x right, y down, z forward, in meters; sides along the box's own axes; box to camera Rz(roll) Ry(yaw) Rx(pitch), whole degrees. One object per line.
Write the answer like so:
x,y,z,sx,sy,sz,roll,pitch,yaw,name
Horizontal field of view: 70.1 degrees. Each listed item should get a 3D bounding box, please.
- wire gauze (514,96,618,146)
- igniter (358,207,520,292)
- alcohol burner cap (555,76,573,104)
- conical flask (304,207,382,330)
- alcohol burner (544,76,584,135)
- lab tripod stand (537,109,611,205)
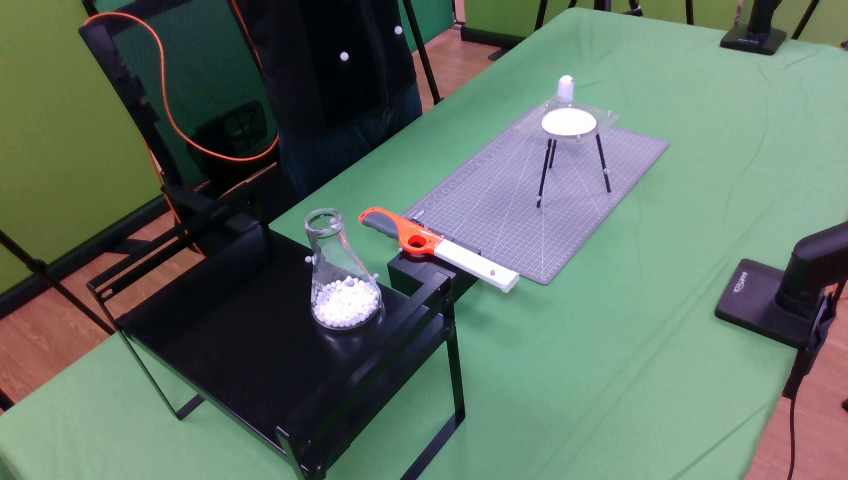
0.229,-0.190,0.969,0.120,0.011,0.125,26,50,33,wire gauze
0.014,0.008,0.886,0.274,0.025,0.057,25,52,29,igniter
0.266,-0.284,1.139,0.034,0.048,0.033,0,34,1,alcohol burner cap
-0.088,0.025,0.601,0.075,0.122,0.075,-5,40,5,conical flask
0.269,-0.256,1.161,0.078,0.119,0.077,-5,38,5,alcohol burner
0.244,-0.141,1.014,0.148,0.132,0.147,-3,39,3,lab tripod stand
